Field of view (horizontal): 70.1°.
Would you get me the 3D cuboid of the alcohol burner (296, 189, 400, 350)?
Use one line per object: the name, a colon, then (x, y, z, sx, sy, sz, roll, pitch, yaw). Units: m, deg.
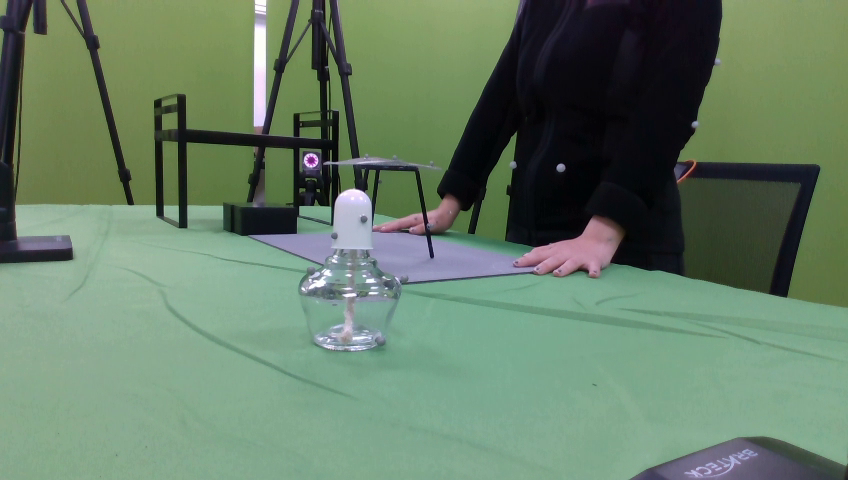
alcohol burner: (-0.056, 0.021, 0.453, 0.078, 0.119, 0.078, 3, 6, 0)

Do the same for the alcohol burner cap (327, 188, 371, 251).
alcohol burner cap: (-0.055, -0.015, 0.448, 0.034, 0.048, 0.034, 0, 1, 0)

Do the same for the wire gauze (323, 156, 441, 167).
wire gauze: (-0.056, -0.111, 0.856, 0.121, 0.011, 0.125, 8, 10, 31)

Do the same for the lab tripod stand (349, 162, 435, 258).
lab tripod stand: (-0.056, -0.044, 0.863, 0.148, 0.131, 0.148, 3, 9, 0)
